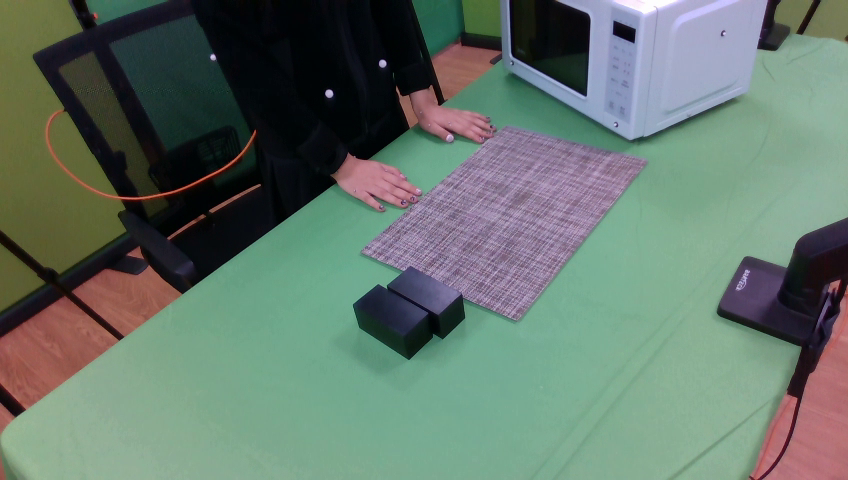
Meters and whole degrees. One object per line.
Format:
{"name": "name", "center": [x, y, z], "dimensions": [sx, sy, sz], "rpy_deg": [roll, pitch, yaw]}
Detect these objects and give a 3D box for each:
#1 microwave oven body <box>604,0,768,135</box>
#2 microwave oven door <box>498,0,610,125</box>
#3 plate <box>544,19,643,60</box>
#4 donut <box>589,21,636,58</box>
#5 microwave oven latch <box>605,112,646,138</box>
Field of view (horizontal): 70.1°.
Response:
{"name": "microwave oven body", "center": [0.411, -0.441, 1.235], "dimensions": [0.327, 0.261, 0.437], "rpy_deg": [-25, 42, -16]}
{"name": "microwave oven door", "center": [0.261, -0.410, 1.219], "dimensions": [0.039, 0.245, 0.352], "rpy_deg": [-24, 42, -17]}
{"name": "plate", "center": [0.359, -0.427, 1.292], "dimensions": [0.209, 0.038, 0.208], "rpy_deg": [0, 35, 0]}
{"name": "donut", "center": [0.402, -0.429, 1.295], "dimensions": [0.099, 0.048, 0.098], "rpy_deg": [2, 52, -2]}
{"name": "microwave oven latch", "center": [0.375, -0.217, 1.130], "dimensions": [0.030, 0.029, 0.078], "rpy_deg": [-25, 42, -16]}
